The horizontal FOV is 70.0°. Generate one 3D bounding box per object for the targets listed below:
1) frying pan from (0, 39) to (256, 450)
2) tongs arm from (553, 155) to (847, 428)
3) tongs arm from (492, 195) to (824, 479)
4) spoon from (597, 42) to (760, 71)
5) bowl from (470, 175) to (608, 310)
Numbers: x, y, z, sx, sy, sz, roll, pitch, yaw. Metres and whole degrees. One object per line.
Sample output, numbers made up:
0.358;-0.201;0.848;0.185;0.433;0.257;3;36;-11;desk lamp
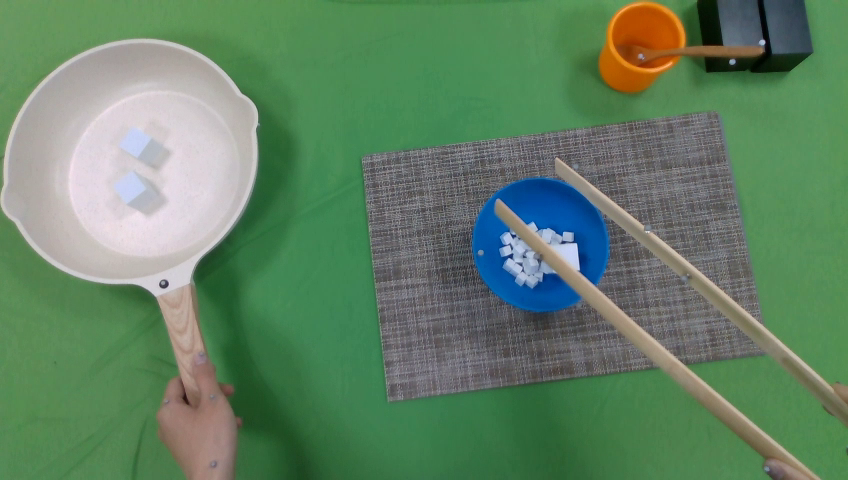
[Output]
-0.301;0.001;0.691;0.307;0.103;0.484;-21;73;-2;frying pan
0.225;0.055;0.500;0.051;0.027;0.381;-34;59;-15;tongs arm
0.189;0.079;0.489;0.028;0.028;0.383;-34;59;-19;tongs arm
0.285;-0.216;0.699;0.022;0.192;0.041;37;77;-37;spoon
0.125;0.008;0.695;0.151;0.077;0.151;0;80;1;bowl
